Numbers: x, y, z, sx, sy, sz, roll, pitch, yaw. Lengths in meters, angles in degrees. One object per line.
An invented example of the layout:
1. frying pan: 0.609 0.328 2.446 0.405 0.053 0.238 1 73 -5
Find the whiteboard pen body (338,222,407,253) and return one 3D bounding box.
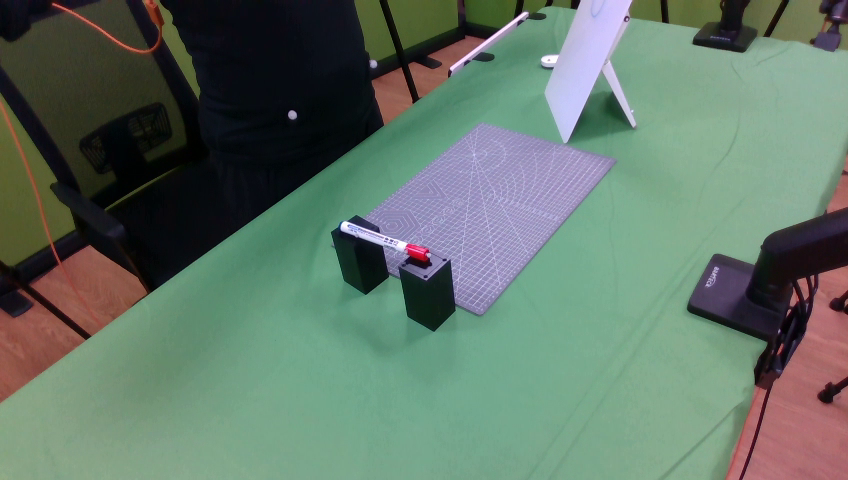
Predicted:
1. whiteboard pen body: -0.061 -0.001 0.828 0.139 0.017 0.017 18 46 28

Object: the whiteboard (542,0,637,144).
1. whiteboard: 0.366 -0.351 1.160 0.144 0.305 0.216 10 39 -10

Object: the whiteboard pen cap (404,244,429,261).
1. whiteboard pen cap: -0.010 0.015 0.801 0.032 0.017 0.017 17 46 29

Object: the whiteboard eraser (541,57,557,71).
1. whiteboard eraser: 0.323 -0.412 1.408 0.101 0.019 0.041 1 42 11
